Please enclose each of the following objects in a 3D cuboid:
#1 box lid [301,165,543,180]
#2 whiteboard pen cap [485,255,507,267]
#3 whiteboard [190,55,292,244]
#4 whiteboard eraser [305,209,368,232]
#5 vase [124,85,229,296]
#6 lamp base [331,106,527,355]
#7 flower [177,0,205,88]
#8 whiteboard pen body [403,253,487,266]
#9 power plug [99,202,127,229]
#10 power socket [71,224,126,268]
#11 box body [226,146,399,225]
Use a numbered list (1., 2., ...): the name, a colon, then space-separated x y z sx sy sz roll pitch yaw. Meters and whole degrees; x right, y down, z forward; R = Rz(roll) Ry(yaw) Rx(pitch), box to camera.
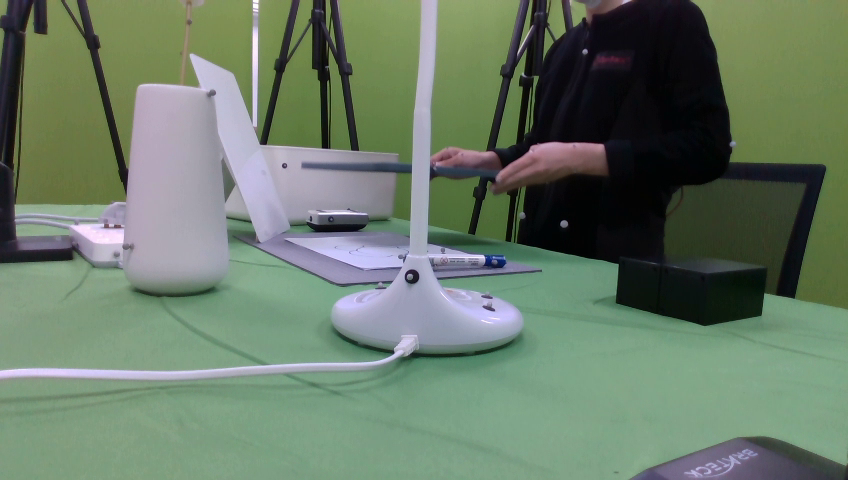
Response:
1. box lid: 0.001 -0.116 1.052 0.374 0.015 0.262 -3 7 -41
2. whiteboard pen cap: 0.093 0.028 0.810 0.033 0.018 0.018 2 7 -24
3. whiteboard: -0.363 -0.129 1.028 0.144 0.305 0.217 -18 7 3
4. whiteboard eraser: -0.168 -0.038 1.172 0.113 0.042 0.055 -2 8 -35
5. vase: -0.244 -0.047 0.598 0.098 0.200 0.098 3 8 0
6. lamp base: 0.006 -0.012 0.478 0.161 0.180 0.179 2 10 2
7. flower: -0.243 -0.131 0.609 0.044 0.361 0.038 -5 -12 11
8. whiteboard pen body: 0.040 0.026 0.785 0.141 0.017 0.017 1 7 -24
9. power plug: -0.415 -0.026 0.848 0.073 0.052 0.035 6 5 -28
10. power socket: -0.409 0.004 0.793 0.072 0.032 0.225 -2 8 -37
11. box body: -0.264 -0.129 1.380 0.253 0.160 0.366 8 9 39
